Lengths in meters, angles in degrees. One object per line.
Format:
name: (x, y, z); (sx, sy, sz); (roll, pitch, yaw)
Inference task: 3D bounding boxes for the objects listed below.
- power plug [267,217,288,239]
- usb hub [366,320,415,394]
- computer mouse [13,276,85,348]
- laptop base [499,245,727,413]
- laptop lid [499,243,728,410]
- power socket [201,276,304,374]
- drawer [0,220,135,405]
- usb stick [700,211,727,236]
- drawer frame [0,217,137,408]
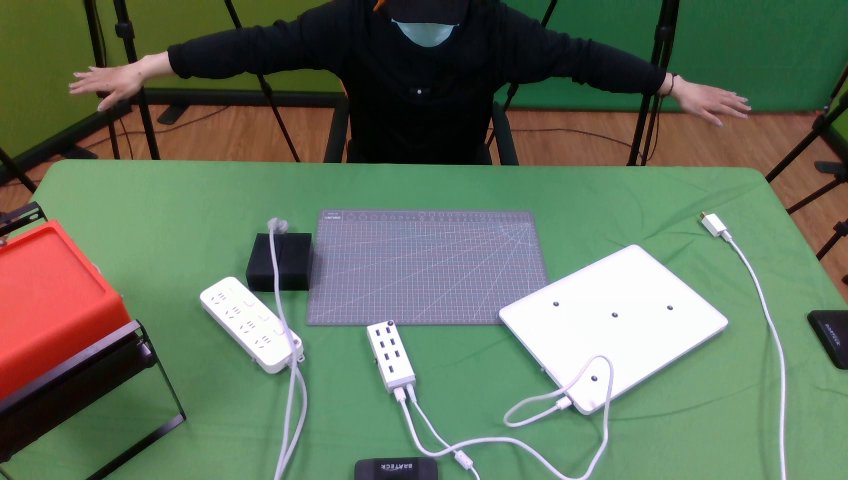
power plug: (-0.286, -0.014, 1.168); (0.035, 0.053, 0.072); (-14, 37, 23)
usb hub: (-0.056, 0.192, 1.009); (0.049, 0.025, 0.124); (-12, 49, -16)
computer mouse: (-0.497, 0.090, 0.804); (0.063, 0.041, 0.116); (-7, 42, -7)
laptop base: (0.339, 0.145, 1.088); (0.354, 0.023, 0.234); (-23, 49, -24)
laptop lid: (0.338, 0.135, 1.081); (0.357, 0.013, 0.240); (-21, 50, -23)
power socket: (-0.296, 0.141, 1.034); (0.225, 0.033, 0.072); (37, 55, 26)
drawer: (-0.522, 0.093, 0.782); (0.193, 0.073, 0.211); (38, 55, 27)
usb stick: (0.606, -0.038, 1.273); (0.027, 0.021, 0.059); (-18, 57, -20)
drawer frame: (-0.523, 0.094, 0.779); (0.200, 0.083, 0.213); (37, 55, 26)
